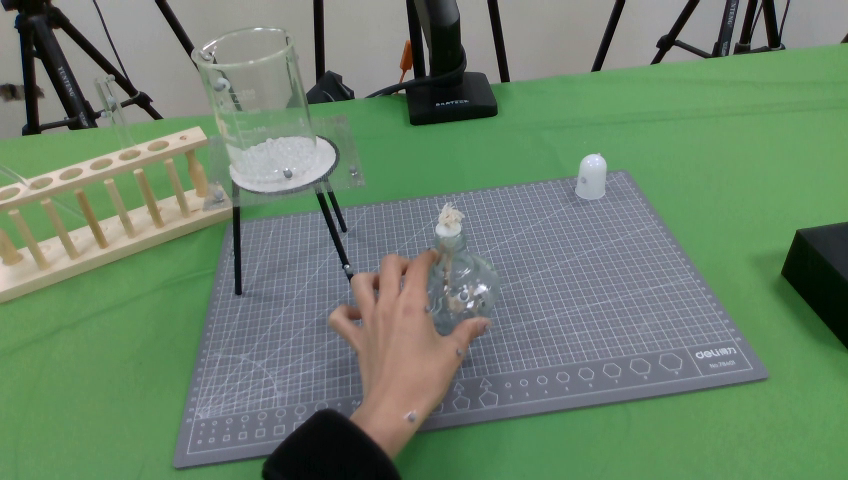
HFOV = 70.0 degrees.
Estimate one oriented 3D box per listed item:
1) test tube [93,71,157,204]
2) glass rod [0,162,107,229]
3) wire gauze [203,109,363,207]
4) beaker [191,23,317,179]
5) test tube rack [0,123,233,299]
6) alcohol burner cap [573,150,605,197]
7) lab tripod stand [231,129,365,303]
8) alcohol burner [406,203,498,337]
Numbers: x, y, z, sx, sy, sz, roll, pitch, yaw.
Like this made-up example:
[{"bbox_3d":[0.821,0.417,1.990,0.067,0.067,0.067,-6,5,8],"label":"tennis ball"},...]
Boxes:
[{"bbox_3d":[-0.307,-0.101,0.629,0.017,0.151,0.017,-3,37,2],"label":"test tube"},{"bbox_3d":[-0.394,-0.062,0.582,0.008,0.202,0.008,-19,50,24],"label":"glass rod"},{"bbox_3d":[-0.119,-0.069,0.501,0.125,0.011,0.120,-13,38,-5],"label":"wire gauze"},{"bbox_3d":[-0.128,-0.105,0.469,0.083,0.101,0.073,12,43,22],"label":"beaker"},{"bbox_3d":[-0.333,-0.036,0.631,0.243,0.086,0.066,-23,43,-21],"label":"test tube rack"},{"bbox_3d":[0.177,-0.074,0.647,0.034,0.048,0.033,-3,40,3],"label":"alcohol burner cap"},{"bbox_3d":[-0.113,-0.019,0.543,0.148,0.133,0.147,-4,42,3],"label":"lab tripod stand"},{"bbox_3d":[0.022,0.022,0.494,0.078,0.120,0.077,-3,38,3],"label":"alcohol burner"}]
